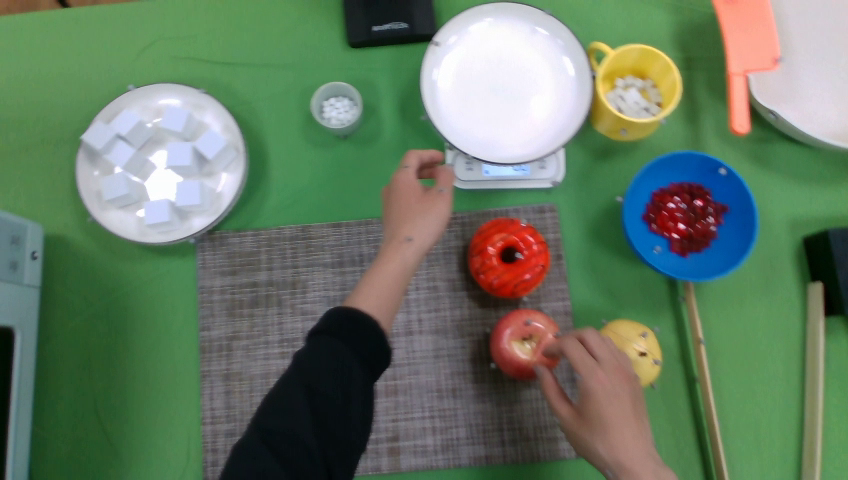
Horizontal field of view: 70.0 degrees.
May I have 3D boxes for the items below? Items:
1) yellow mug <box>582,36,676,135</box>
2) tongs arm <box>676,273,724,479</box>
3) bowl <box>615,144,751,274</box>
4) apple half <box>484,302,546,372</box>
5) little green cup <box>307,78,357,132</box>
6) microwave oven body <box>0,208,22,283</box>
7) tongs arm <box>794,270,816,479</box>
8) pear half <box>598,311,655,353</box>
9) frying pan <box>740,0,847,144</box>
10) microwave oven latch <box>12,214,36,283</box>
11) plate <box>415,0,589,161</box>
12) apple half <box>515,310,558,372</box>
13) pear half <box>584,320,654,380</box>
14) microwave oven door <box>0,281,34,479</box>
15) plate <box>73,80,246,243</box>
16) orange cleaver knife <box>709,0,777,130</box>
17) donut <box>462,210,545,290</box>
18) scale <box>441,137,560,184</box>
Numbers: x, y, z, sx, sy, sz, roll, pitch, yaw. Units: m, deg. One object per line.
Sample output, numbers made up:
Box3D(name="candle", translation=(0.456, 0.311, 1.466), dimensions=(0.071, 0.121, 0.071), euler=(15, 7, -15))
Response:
Box3D(name="yellow mug", translation=(0.242, -0.201, 0.755), dimensions=(0.100, 0.064, 0.130), euler=(-38, 81, -5))
Box3D(name="tongs arm", translation=(0.346, 0.224, 0.697), dimensions=(0.051, 0.026, 0.383), euler=(-4, 81, -6))
Box3D(name="bowl", translation=(0.294, -0.030, 0.720), dimensions=(0.151, 0.077, 0.151), euler=(0, 81, 0))
Box3D(name="apple half", translation=(0.097, 0.105, 0.694), dimensions=(0.053, 0.075, 0.080), euler=(28, 84, 8))
Box3D(name="little green cup", translation=(-0.113, -0.168, 0.765), dimensions=(0.061, 0.039, 0.061), euler=(0, 80, 1))
Box3D(name="microwave oven body", translation=(-0.620, 0.174, 0.588), dimensions=(0.326, 0.261, 0.440), euler=(-3, 80, -1))
Box3D(name="tongs arm", translation=(0.432, 0.225, 0.701), dimensions=(0.028, 0.028, 0.386), euler=(11, 80, -6))
Box3D(name="pear half", translation=(0.235, 0.100, 0.691), dimensions=(0.070, 0.088, 0.031), euler=(25, 81, 7))
Box3D(name="frying pan", translation=(0.570, -0.169, 0.730), dimensions=(0.307, 0.103, 0.484), euler=(-32, 73, -4))
Box3D(name="microwave oven latch", translation=(-0.480, 0.011, 0.715), dimensions=(0.030, 0.029, 0.079), euler=(-1, 81, 0))
Box3D(name="plate", translation=(0.094, -0.193, 0.739), dimensions=(0.209, 0.038, 0.208), euler=(0, 80, 0))
Box3D(name="apple half", translation=(0.133, 0.121, 0.690), dimensions=(0.032, 0.081, 0.081), euler=(27, 81, 8))
Box3D(name="pear half", translation=(0.217, 0.128, 0.676), dimensions=(0.076, 0.110, 0.056), euler=(26, 80, 9))
Box3D(name="microwave oven door", translation=(-0.472, 0.207, 0.576), dimensions=(0.039, 0.244, 0.354), euler=(-3, 79, 0))
Box3D(name="plate", translation=(-0.322, -0.095, 0.752), dimensions=(0.208, 0.039, 0.207), euler=(0, 80, 0))
Box3D(name="orange cleaver knife", translation=(0.381, -0.234, 0.724), dimensions=(0.077, 0.012, 0.210), euler=(-1, 80, 3))
Box3D(name="donut", translation=(0.094, 0.012, 0.726), dimensions=(0.099, 0.048, 0.098), euler=(0, 81, 3))
Box3D(name="scale", translation=(0.095, -0.172, 0.768), dimensions=(0.149, 0.031, 0.200), euler=(-1, 80, 0))
